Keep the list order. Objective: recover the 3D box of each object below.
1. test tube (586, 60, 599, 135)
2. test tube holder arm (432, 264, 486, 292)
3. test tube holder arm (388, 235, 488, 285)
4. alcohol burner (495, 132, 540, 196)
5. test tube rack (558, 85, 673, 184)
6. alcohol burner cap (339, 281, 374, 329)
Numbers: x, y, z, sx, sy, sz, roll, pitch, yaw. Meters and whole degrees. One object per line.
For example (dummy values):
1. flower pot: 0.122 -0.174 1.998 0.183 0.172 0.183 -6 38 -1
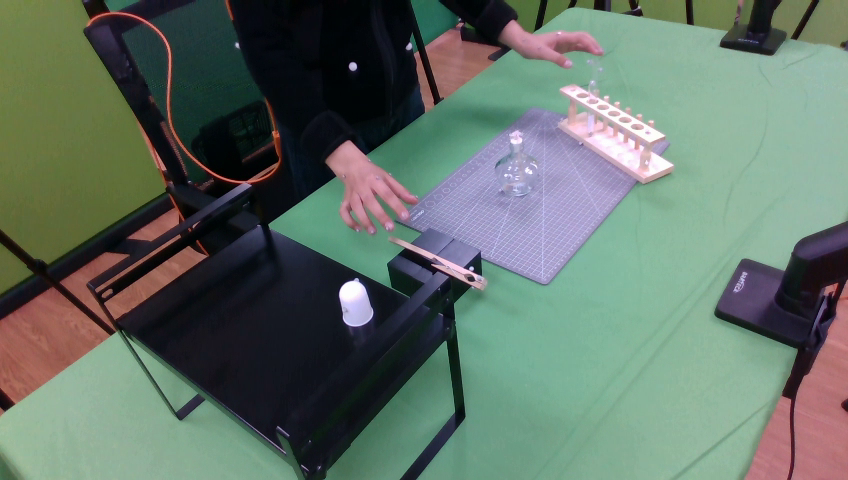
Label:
1. test tube: 0.306 -0.256 1.100 0.017 0.151 0.017 -6 44 6
2. test tube holder arm: 0.047 0.049 0.837 0.087 0.015 0.010 27 85 34
3. test tube holder arm: 0.016 0.027 0.863 0.177 0.015 0.013 26 84 34
4. alcohol burner: 0.159 -0.135 1.035 0.078 0.119 0.077 -5 42 5
5. test tube rack: 0.347 -0.203 1.109 0.067 0.085 0.240 -22 42 -17
6. alcohol burner cap: -0.071 0.063 0.617 0.034 0.048 0.033 -5 39 4
